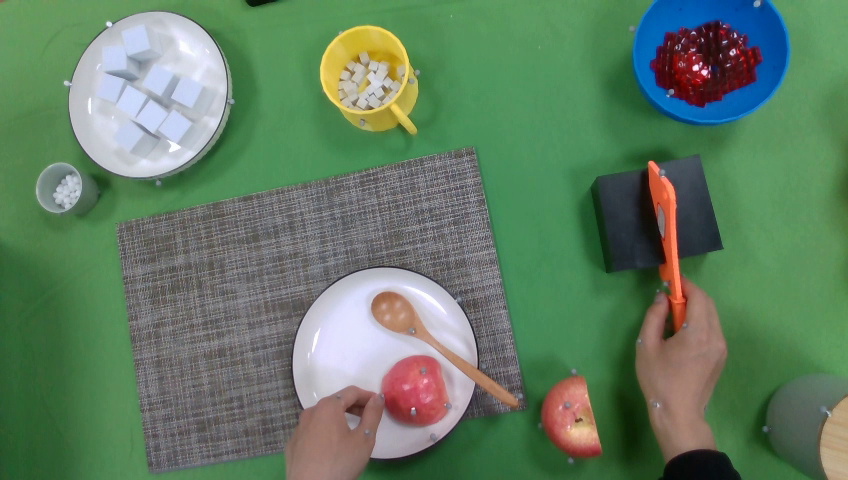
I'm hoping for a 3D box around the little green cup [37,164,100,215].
[{"bbox_3d":[-0.433,-0.059,0.742,0.061,0.039,0.061,0,86,6],"label":"little green cup"}]

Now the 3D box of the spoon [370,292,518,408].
[{"bbox_3d":[0.019,0.119,0.649,0.192,0.022,0.041,35,78,22],"label":"spoon"}]

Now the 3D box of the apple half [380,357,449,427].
[{"bbox_3d":[-0.013,0.167,0.656,0.081,0.033,0.081,-1,82,8],"label":"apple half"}]

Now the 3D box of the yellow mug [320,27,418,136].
[{"bbox_3d":[-0.051,-0.169,0.688,0.100,0.064,0.130,-40,82,2],"label":"yellow mug"}]

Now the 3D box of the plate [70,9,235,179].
[{"bbox_3d":[-0.326,-0.174,0.740,0.207,0.039,0.207,-1,85,8],"label":"plate"}]

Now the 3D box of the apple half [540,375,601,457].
[{"bbox_3d":[0.147,0.183,0.626,0.053,0.075,0.080,-14,87,10],"label":"apple half"}]

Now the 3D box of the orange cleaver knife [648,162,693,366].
[{"bbox_3d":[0.250,0.026,0.621,0.012,0.077,0.212,-12,107,7],"label":"orange cleaver knife"}]

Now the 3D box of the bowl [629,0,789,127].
[{"bbox_3d":[0.287,-0.184,0.637,0.151,0.077,0.151,-1,85,8],"label":"bowl"}]

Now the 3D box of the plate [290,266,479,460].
[{"bbox_3d":[-0.043,0.133,0.670,0.209,0.038,0.208,-1,85,8],"label":"plate"}]

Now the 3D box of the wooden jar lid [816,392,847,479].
[{"bbox_3d":[0.382,0.173,0.505,0.108,0.021,0.108,0,87,7],"label":"wooden jar lid"}]

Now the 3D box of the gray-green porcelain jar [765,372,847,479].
[{"bbox_3d":[0.392,0.180,0.566,0.106,0.127,0.105,-1,84,8],"label":"gray-green porcelain jar"}]
